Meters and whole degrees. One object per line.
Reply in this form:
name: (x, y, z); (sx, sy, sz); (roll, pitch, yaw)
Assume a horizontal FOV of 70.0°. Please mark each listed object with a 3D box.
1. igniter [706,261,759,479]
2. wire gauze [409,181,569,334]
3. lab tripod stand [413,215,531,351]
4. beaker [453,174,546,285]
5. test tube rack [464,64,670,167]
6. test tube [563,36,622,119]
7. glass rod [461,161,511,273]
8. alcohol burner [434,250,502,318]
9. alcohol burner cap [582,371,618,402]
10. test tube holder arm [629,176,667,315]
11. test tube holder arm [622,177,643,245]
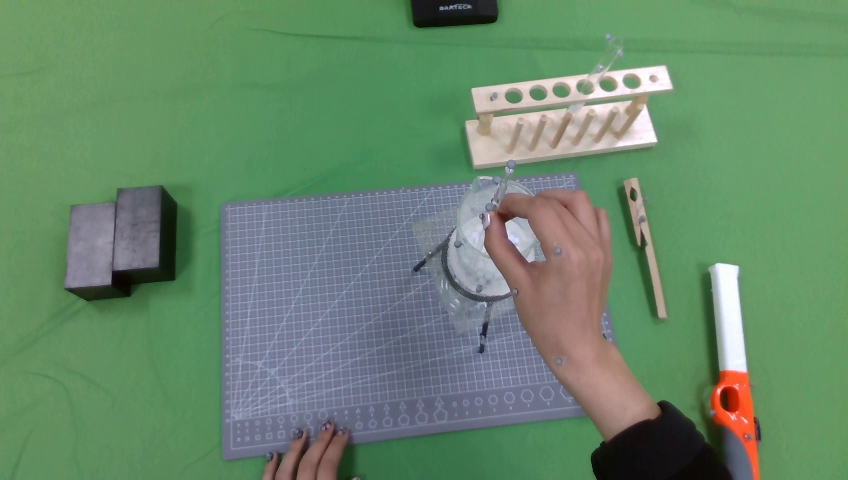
igniter: (0.348, 0.157, 0.689); (0.057, 0.025, 0.274); (9, 70, -10)
wire gauze: (0.063, 0.013, 0.597); (0.121, 0.011, 0.124); (-22, 74, -6)
lab tripod stand: (0.055, 0.038, 0.658); (0.148, 0.132, 0.147); (0, 71, 0)
beaker: (0.062, -0.005, 0.553); (0.074, 0.101, 0.083); (-20, 72, -7)
test tube rack: (0.178, -0.154, 0.760); (0.243, 0.085, 0.066); (-8, 71, -5)
test tube: (0.197, -0.188, 0.720); (0.017, 0.151, 0.017); (3, 69, -7)
glass rod: (0.046, -0.011, 0.492); (0.008, 0.201, 0.008); (2, 66, -5)
alcohol burner: (0.050, 0.043, 0.666); (0.078, 0.120, 0.077); (1, 68, -1)
alcohol burner cap: (0.197, 0.160, 0.670); (0.034, 0.048, 0.033); (1, 70, -2)
test tube holder arm: (0.273, 0.005, 0.742); (0.013, 0.015, 0.177); (-18, 69, 28)
test tube holder arm: (0.263, -0.036, 0.759); (0.010, 0.015, 0.087); (-17, 69, 28)
